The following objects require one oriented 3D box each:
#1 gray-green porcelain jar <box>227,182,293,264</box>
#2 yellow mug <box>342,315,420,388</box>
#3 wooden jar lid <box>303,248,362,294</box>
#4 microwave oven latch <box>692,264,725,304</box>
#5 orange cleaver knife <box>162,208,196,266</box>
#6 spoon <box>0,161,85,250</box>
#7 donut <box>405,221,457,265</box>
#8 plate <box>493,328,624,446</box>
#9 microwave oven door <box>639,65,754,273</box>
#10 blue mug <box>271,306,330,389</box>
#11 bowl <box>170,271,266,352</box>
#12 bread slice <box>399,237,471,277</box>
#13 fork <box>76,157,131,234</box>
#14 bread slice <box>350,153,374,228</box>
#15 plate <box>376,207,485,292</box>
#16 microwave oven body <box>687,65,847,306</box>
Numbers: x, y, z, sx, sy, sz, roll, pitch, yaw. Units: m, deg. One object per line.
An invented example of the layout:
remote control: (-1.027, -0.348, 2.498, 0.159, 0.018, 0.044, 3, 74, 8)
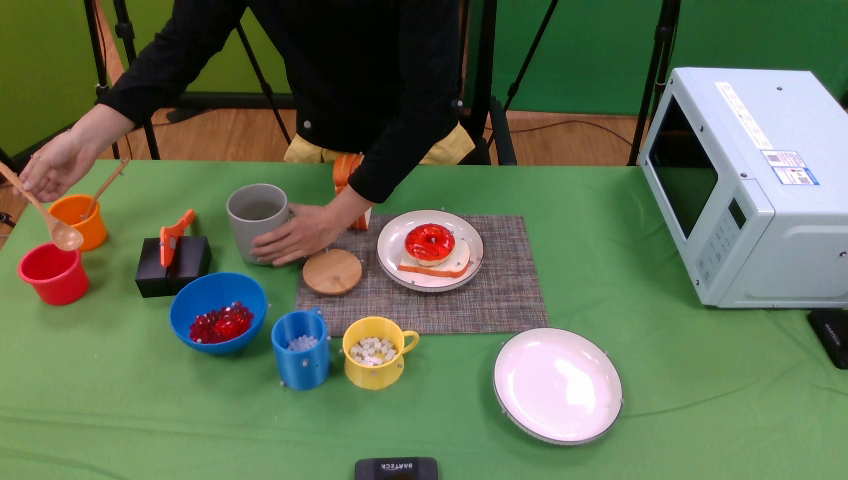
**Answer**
gray-green porcelain jar: (-0.300, -0.027, 1.126, 0.106, 0.127, 0.105, 2, 47, -2)
yellow mug: (-0.068, 0.177, 0.990, 0.131, 0.064, 0.099, -15, 50, -19)
wooden jar lid: (-0.169, 0.059, 1.122, 0.108, 0.021, 0.107, 3, 46, -2)
microwave oven latch: (0.522, 0.081, 1.116, 0.030, 0.029, 0.078, 1, 46, -2)
orange cleaver knife: (-0.455, -0.010, 1.129, 0.012, 0.077, 0.210, 0, 17, -6)
spoon: (-0.626, -0.058, 0.986, 0.194, 0.021, 0.041, 50, 56, -3)
donut: (0.013, 0.004, 1.136, 0.099, 0.048, 0.098, 0, 46, 0)
plate: (0.213, 0.236, 0.974, 0.208, 0.039, 0.206, 2, 46, -2)
microwave oven door: (0.522, -0.147, 1.192, 0.039, 0.245, 0.353, 0, 47, -3)
blue mug: (-0.188, 0.163, 0.969, 0.082, 0.106, 0.116, 15, 47, 10)
bowl: (-0.333, 0.132, 1.006, 0.151, 0.077, 0.150, 2, 46, -2)
bread slice: (0.025, 0.025, 1.161, 0.131, 0.019, 0.104, 7, 47, 8)
fork: (-0.609, -0.074, 1.133, 0.207, 0.019, 0.028, -52, 55, 10)
bread slice: (-0.124, -0.104, 1.207, 0.018, 0.135, 0.106, -1, 48, 7)
plate: (0.012, 0.021, 1.159, 0.209, 0.038, 0.208, 2, 47, -2)
microwave oven body: (0.669, -0.111, 1.176, 0.326, 0.261, 0.439, 0, 46, -3)
